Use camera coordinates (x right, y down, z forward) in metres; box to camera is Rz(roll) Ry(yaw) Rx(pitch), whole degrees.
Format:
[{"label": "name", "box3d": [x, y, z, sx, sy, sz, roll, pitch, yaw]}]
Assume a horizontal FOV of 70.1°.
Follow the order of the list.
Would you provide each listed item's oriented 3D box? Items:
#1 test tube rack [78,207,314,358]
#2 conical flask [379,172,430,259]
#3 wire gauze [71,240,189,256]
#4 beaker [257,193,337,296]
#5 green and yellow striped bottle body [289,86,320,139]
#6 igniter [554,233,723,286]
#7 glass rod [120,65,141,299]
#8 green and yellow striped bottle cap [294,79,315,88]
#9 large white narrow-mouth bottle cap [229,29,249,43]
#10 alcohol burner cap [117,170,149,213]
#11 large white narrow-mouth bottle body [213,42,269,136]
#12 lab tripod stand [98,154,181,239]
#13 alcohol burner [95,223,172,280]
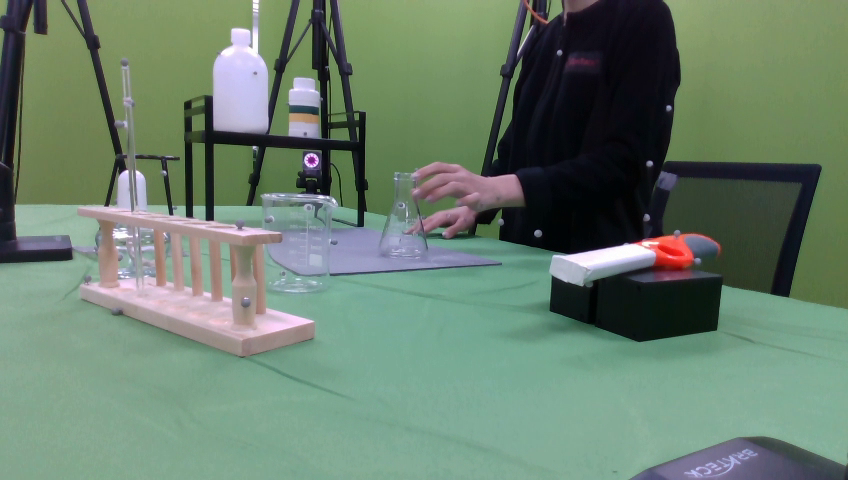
[{"label": "test tube rack", "box3d": [-0.196, 0.024, 0.499, 0.241, 0.085, 0.067, 8, 8, 37]}, {"label": "conical flask", "box3d": [-0.027, -0.036, 0.869, 0.075, 0.122, 0.075, 2, 8, 0]}, {"label": "wire gauze", "box3d": [-0.399, 0.013, 0.820, 0.126, 0.011, 0.121, -3, 8, -37]}, {"label": "beaker", "box3d": [-0.130, 0.003, 0.628, 0.084, 0.100, 0.074, 5, 8, 15]}, {"label": "green and yellow striped bottle body", "box3d": [-0.250, -0.272, 1.261, 0.063, 0.119, 0.063, 3, 7, 0]}, {"label": "igniter", "box3d": [0.214, 0.015, 0.570, 0.278, 0.025, 0.057, -5, 22, -44]}, {"label": "glass rod", "box3d": [-0.248, -0.047, 0.513, 0.008, 0.199, 0.008, -1, 4, 0]}, {"label": "green and yellow striped bottle cap", "box3d": [-0.248, -0.323, 1.256, 0.045, 0.020, 0.045, 3, 9, 0]}, {"label": "large white narrow-mouth bottle cap", "box3d": [-0.352, -0.387, 1.152, 0.038, 0.024, 0.037, 1, 8, 0]}, {"label": "alcohol burner cap", "box3d": [-0.320, -0.052, 0.661, 0.034, 0.048, 0.034, -3, -1, 0]}, {"label": "large white narrow-mouth bottle body", "box3d": [-0.353, -0.301, 1.166, 0.102, 0.194, 0.102, 1, 8, 0]}, {"label": "lab tripod stand", "box3d": [-0.427, -0.066, 0.942, 0.148, 0.131, 0.148, 1, 6, 0]}, {"label": "alcohol burner", "box3d": [-0.320, -0.017, 0.667, 0.078, 0.119, 0.078, 0, 7, 0]}]
